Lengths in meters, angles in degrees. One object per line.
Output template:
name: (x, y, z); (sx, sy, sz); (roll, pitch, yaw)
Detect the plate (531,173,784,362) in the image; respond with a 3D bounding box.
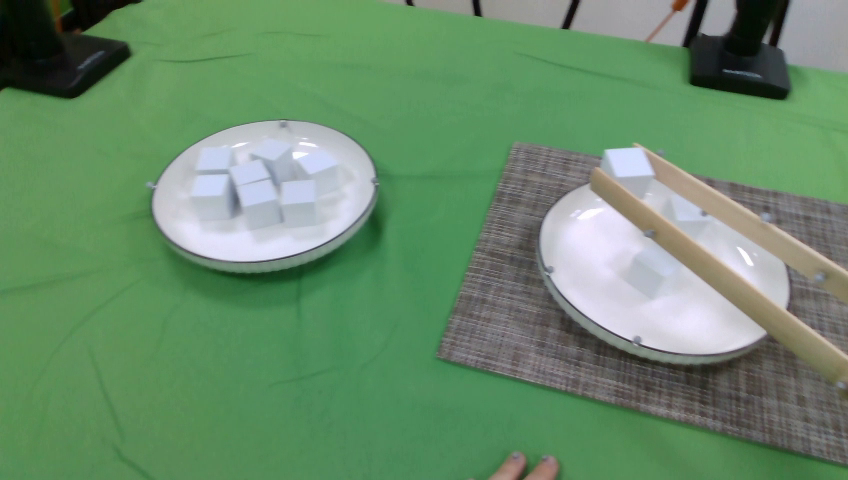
plate: (0.196, 0.021, 0.529); (0.208, 0.039, 0.205); (1, 46, 0)

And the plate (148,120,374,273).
plate: (-0.152, -0.042, 0.587); (0.209, 0.038, 0.207); (1, 46, -1)

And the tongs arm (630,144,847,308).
tongs arm: (0.272, 0.048, 0.392); (0.051, 0.027, 0.381); (-32, 54, -22)

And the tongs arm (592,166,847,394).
tongs arm: (0.249, 0.061, 0.383); (0.028, 0.028, 0.383); (-28, 53, -23)
